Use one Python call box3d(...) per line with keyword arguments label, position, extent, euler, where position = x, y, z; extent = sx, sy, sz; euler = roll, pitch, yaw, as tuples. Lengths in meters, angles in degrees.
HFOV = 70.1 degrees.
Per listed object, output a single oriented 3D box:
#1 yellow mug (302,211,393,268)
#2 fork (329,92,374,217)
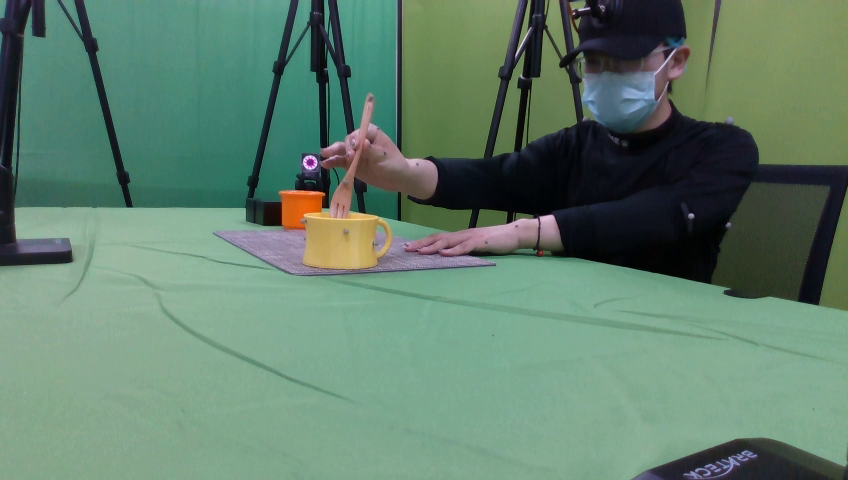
box3d(label="yellow mug", position=(-0.098, -0.003, 0.810), extent=(0.131, 0.064, 0.099), euler=(-2, 8, -37))
box3d(label="fork", position=(-0.098, -0.117, 0.842), extent=(0.028, 0.207, 0.018), euler=(22, -17, -26))
